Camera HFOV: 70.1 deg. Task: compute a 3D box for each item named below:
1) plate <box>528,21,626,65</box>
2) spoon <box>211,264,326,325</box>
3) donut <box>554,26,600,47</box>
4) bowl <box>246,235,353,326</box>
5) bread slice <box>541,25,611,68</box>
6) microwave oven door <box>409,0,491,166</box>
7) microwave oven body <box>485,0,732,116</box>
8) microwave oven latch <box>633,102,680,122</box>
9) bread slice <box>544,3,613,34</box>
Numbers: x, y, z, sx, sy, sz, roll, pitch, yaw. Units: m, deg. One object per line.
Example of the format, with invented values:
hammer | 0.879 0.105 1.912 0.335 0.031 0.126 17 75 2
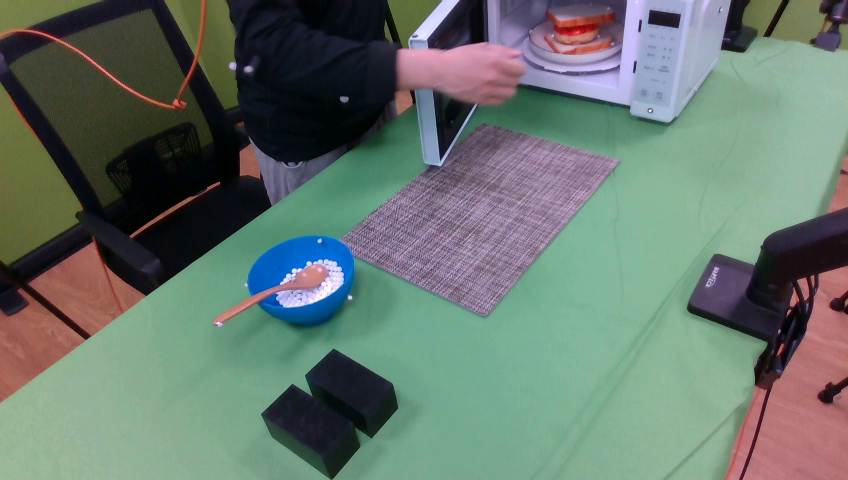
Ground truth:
plate | 0.332 -0.431 1.318 0.207 0.039 0.206 -4 41 4
spoon | -0.208 0.072 0.822 0.041 0.021 0.195 26 29 27
donut | 0.328 -0.451 1.295 0.099 0.048 0.098 -6 44 6
bowl | -0.170 0.070 0.868 0.151 0.077 0.150 -4 41 4
bread slice | 0.335 -0.428 1.314 0.134 0.018 0.106 -24 51 -1
microwave oven door | 0.061 -0.342 1.165 0.039 0.245 0.355 9 43 19
microwave oven body | 0.377 -0.462 1.267 0.438 0.261 0.327 21 48 30
microwave oven latch | 0.444 -0.249 1.157 0.078 0.029 0.030 22 49 31
bread slice | 0.329 -0.472 1.278 0.131 0.019 0.104 -11 39 0
